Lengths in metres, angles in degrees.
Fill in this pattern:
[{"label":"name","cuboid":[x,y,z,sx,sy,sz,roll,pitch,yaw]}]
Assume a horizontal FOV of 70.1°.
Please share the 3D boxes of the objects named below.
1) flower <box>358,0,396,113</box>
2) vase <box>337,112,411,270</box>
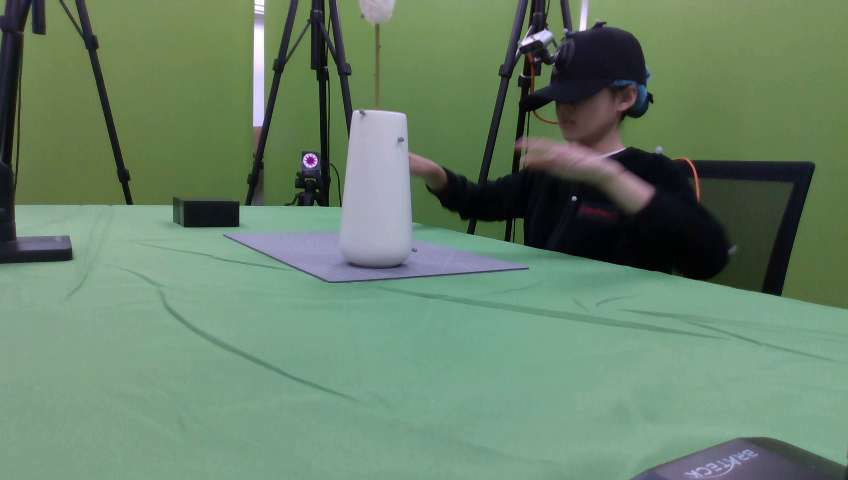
[{"label":"flower","cuboid":[-0.058,-0.142,0.761,0.044,0.361,0.038,13,27,24]},{"label":"vase","cuboid":[-0.064,-0.064,0.790,0.098,0.200,0.098,2,7,0]}]
